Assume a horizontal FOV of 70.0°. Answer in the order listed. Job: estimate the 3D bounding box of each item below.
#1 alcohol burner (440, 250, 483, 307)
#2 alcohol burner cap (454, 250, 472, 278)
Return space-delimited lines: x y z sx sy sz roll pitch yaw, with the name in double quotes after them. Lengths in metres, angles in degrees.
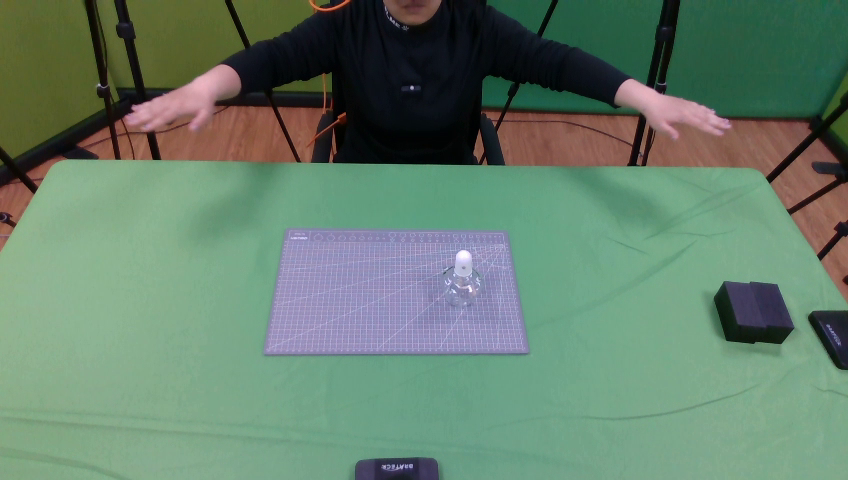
0.068 0.063 1.076 0.078 0.120 0.077 1 45 -1 "alcohol burner"
0.068 0.039 1.049 0.034 0.048 0.033 -2 45 2 "alcohol burner cap"
